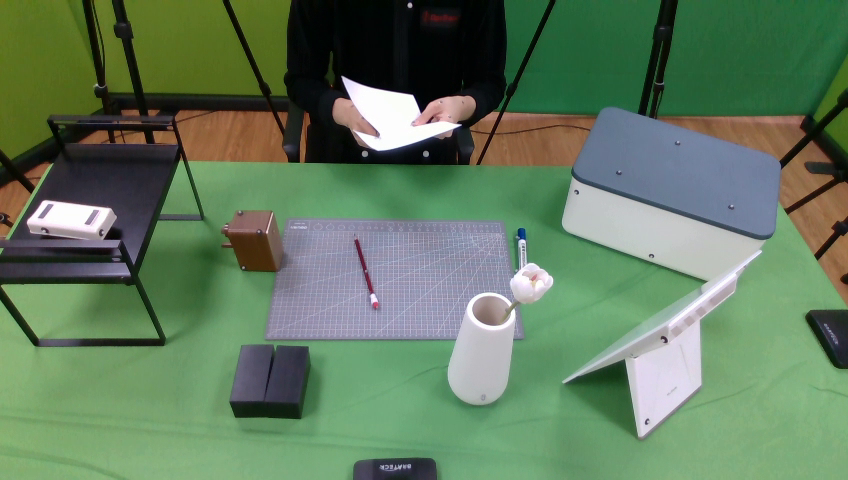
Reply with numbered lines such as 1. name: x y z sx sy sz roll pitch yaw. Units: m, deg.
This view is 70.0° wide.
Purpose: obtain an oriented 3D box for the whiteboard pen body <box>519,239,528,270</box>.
1. whiteboard pen body: 0.193 0.035 1.180 0.017 0.017 0.140 6 48 1

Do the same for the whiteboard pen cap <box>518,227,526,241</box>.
1. whiteboard pen cap: 0.197 -0.009 1.220 0.018 0.018 0.033 6 51 1

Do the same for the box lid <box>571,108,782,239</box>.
1. box lid: 0.491 -0.139 1.168 0.370 0.015 0.262 21 49 15

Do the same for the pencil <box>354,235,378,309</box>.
1. pencil: -0.113 0.055 1.143 0.012 0.012 0.192 -10 46 -13

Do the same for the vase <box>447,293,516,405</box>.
1. vase: 0.091 0.169 0.921 0.098 0.201 0.097 3 47 -3

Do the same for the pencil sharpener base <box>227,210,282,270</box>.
1. pencil sharpener base: -0.311 0.001 1.112 0.077 0.107 0.061 1 47 1

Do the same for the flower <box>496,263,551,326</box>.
1. flower: 0.102 0.121 0.853 0.044 0.363 0.038 -1 64 -10

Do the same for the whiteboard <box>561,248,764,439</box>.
1. whiteboard: 0.386 0.176 0.905 0.217 0.306 0.143 -26 72 -27

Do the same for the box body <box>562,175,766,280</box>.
1. box body: 0.486 -0.088 1.222 0.363 0.161 0.253 20 48 15

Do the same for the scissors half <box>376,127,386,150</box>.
1. scissors half: -0.076 -0.177 1.042 0.013 0.040 0.175 0 6 0

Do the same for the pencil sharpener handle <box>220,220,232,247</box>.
1. pencil sharpener handle: -0.362 -0.009 1.105 0.030 0.068 0.036 1 52 1

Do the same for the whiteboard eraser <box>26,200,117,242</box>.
1. whiteboard eraser: -0.532 -0.026 0.919 0.113 0.042 0.055 7 45 3

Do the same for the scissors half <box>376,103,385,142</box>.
1. scissors half: -0.077 -0.198 1.036 0.013 0.040 0.174 -5 30 1
